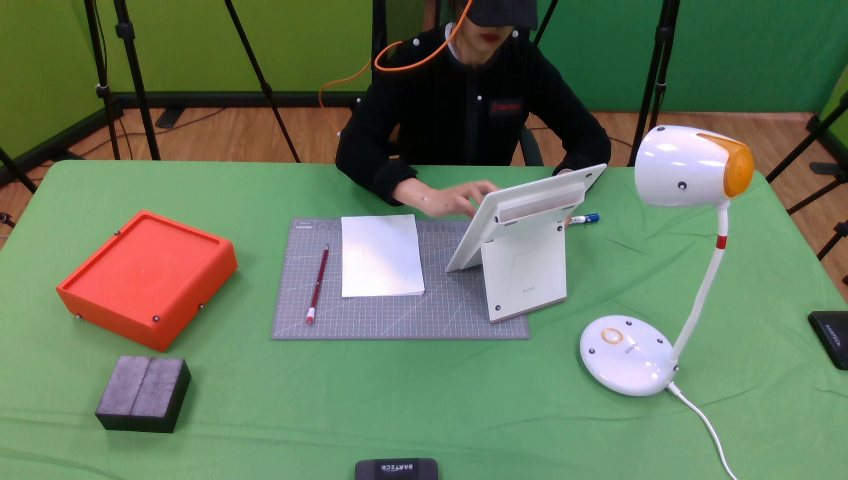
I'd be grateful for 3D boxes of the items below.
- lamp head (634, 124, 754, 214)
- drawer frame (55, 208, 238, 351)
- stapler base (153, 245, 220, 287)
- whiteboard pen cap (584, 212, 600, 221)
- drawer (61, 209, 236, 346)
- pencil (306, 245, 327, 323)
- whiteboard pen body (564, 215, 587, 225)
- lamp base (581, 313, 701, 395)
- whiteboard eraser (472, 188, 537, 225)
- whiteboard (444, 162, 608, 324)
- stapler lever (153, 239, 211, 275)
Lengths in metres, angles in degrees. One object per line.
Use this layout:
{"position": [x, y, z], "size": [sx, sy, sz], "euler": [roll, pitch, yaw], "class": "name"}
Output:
{"position": [0.351, -0.089, 0.775], "size": [0.112, 0.113, 0.122], "euler": [-30, 30, -28], "class": "lamp head"}
{"position": [-0.474, 0.062, 1.059], "size": [0.201, 0.083, 0.213], "euler": [18, 48, 12], "class": "drawer frame"}
{"position": [-0.436, 0.042, 1.108], "size": [0.130, 0.024, 0.041], "euler": [23, 50, 15], "class": "stapler base"}
{"position": [0.351, -0.048, 1.271], "size": [0.033, 0.018, 0.018], "euler": [-6, 47, -11], "class": "whiteboard pen cap"}
{"position": [-0.474, 0.061, 1.062], "size": [0.194, 0.073, 0.211], "euler": [19, 49, 13], "class": "drawer"}
{"position": [-0.196, 0.076, 1.115], "size": [0.012, 0.012, 0.193], "euler": [4, 44, 0], "class": "pencil"}
{"position": [0.292, -0.040, 1.261], "size": [0.141, 0.017, 0.017], "euler": [-7, 47, -10], "class": "whiteboard pen body"}
{"position": [0.361, 0.144, 0.973], "size": [0.178, 0.181, 0.160], "euler": [34, 53, 23], "class": "lamp base"}
{"position": [0.146, -0.059, 1.101], "size": [0.113, 0.056, 0.041], "euler": [-15, 72, -19], "class": "whiteboard eraser"}
{"position": [0.186, 0.026, 1.029], "size": [0.217, 0.306, 0.143], "euler": [-14, 68, -18], "class": "whiteboard"}
{"position": [-0.436, 0.027, 1.090], "size": [0.118, 0.040, 0.027], "euler": [25, 50, 14], "class": "stapler lever"}
